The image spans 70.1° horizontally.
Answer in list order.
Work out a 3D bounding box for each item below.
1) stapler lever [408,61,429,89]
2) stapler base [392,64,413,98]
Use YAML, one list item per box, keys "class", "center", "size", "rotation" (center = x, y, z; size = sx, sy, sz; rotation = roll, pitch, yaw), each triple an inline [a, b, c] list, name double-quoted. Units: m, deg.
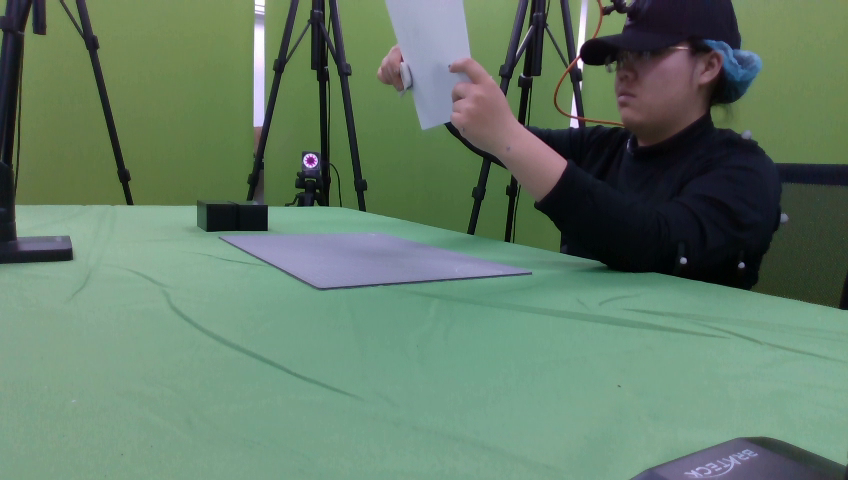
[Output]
- class: "stapler lever"
  center: [-0.015, -0.283, 1.040]
  size: [0.040, 0.027, 0.118]
  rotation: [-21, 8, -1]
- class: "stapler base"
  center: [-0.032, -0.275, 1.037]
  size: [0.024, 0.041, 0.130]
  rotation: [-22, 8, -7]
